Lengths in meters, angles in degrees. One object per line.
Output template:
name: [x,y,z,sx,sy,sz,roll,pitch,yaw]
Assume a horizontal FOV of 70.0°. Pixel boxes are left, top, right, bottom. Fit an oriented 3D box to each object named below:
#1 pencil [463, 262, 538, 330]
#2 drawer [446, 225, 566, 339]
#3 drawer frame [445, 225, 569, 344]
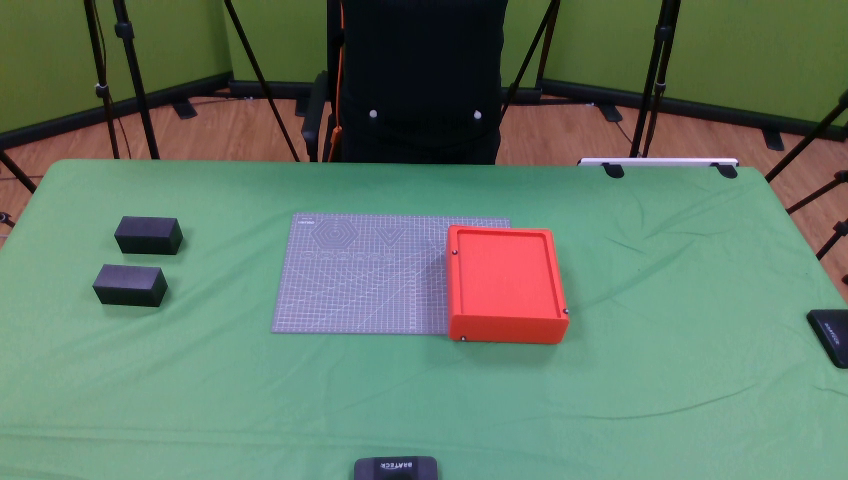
pencil: [0.135,0.098,1.098,0.012,0.012,0.193,-29,55,-28]
drawer: [0.139,0.073,1.094,0.194,0.073,0.210,3,47,-3]
drawer frame: [0.141,0.076,1.089,0.202,0.083,0.212,3,47,-4]
